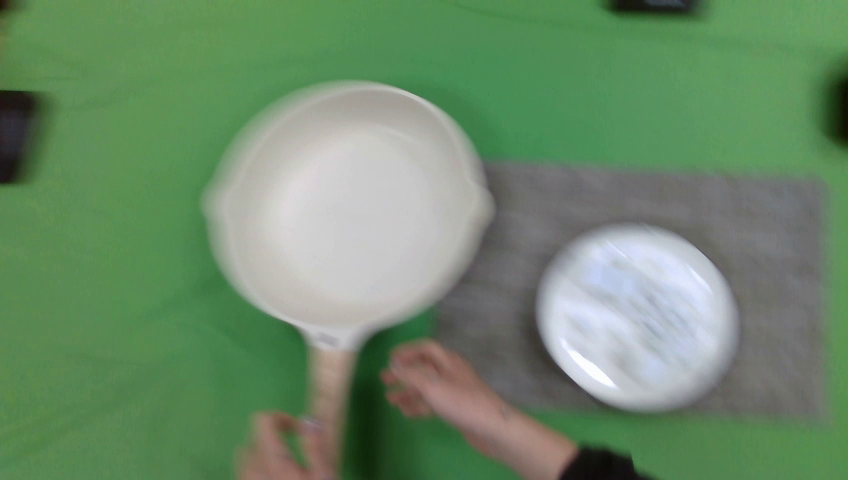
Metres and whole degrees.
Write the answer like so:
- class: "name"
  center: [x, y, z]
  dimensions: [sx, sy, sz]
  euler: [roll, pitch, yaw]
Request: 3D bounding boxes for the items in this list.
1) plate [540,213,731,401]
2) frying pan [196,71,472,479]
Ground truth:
- class: "plate"
  center: [0.233, 0.074, 0.683]
  dimensions: [0.207, 0.039, 0.207]
  euler: [0, 80, 2]
- class: "frying pan"
  center: [-0.100, 0.054, 0.665]
  dimensions: [0.307, 0.103, 0.485]
  euler: [0, 73, 4]
